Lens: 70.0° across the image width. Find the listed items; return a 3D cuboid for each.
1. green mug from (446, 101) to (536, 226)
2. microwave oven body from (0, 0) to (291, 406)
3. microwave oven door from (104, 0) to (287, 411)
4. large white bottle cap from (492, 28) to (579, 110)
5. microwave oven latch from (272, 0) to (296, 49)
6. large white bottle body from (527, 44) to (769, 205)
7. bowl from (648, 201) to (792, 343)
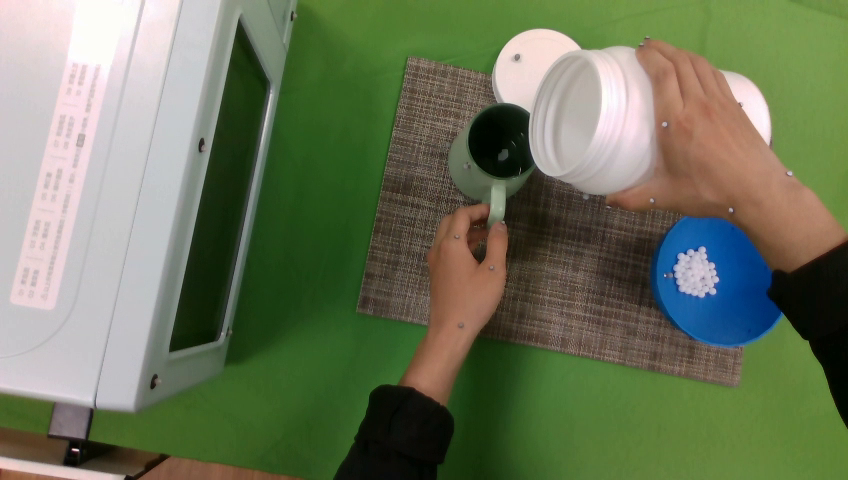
[{"bbox_3d":[0.073,-0.078,0.645,0.093,0.105,0.125,3,85,-6],"label":"green mug"},{"bbox_3d":[-0.324,-0.114,0.534,0.326,0.260,0.440,10,85,-5],"label":"microwave oven body"},{"bbox_3d":[-0.187,-0.047,0.536,0.039,0.244,0.355,10,84,-4],"label":"microwave oven door"},{"bbox_3d":[0.136,-0.189,0.702,0.115,0.018,0.114,1,81,-5],"label":"large white bottle cap"},{"bbox_3d":[-0.155,-0.252,0.657,0.030,0.029,0.079,10,85,-5],"label":"microwave oven latch"},{"bbox_3d":[0.201,-0.105,0.558,0.185,0.130,0.130,4,84,-22],"label":"large white bottle body"},{"bbox_3d":[0.311,0.037,0.671,0.151,0.077,0.151,0,85,-4],"label":"bowl"}]
